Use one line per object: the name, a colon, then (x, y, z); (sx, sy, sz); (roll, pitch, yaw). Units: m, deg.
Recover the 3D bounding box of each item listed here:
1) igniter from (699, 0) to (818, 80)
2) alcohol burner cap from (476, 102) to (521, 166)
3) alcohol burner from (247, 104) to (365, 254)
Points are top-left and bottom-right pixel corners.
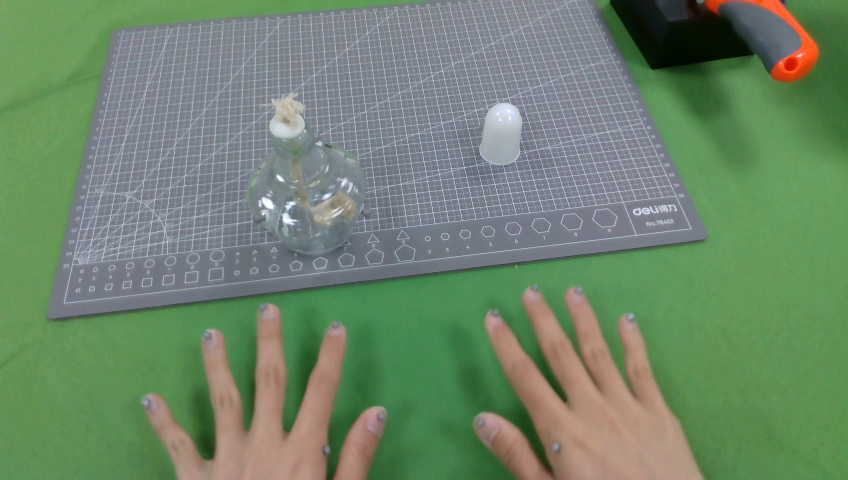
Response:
igniter: (0.244, -0.227, 0.509); (0.057, 0.025, 0.273); (-11, 55, -4)
alcohol burner cap: (0.058, -0.083, 0.458); (0.034, 0.048, 0.033); (1, 56, -1)
alcohol burner: (-0.078, -0.043, 0.387); (0.078, 0.120, 0.077); (0, 58, 1)
